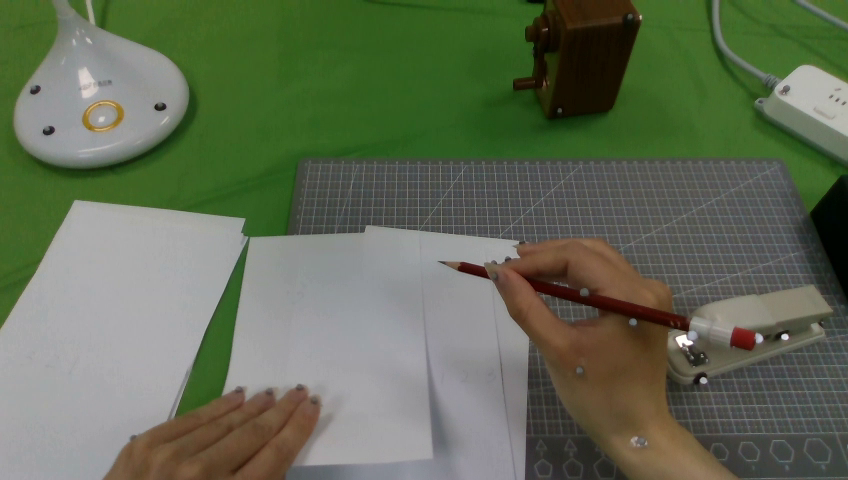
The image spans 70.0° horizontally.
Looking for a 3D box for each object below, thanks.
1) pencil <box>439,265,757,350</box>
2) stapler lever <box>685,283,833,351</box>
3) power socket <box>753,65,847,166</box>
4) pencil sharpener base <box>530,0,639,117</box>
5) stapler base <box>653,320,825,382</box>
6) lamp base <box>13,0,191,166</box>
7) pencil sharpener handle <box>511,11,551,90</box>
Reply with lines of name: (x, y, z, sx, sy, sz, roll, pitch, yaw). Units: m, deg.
pencil: (0.081, 0.032, 0.341, 0.192, 0.012, 0.012, 12, 50, 41)
stapler lever: (0.238, 0.051, 0.428, 0.118, 0.040, 0.026, -13, 56, -12)
power socket: (0.424, -0.091, 0.560, 0.072, 0.033, 0.224, -36, 62, -24)
pencil sharpener base: (0.144, -0.176, 0.573, 0.077, 0.108, 0.060, -9, 55, -6)
stapler base: (0.236, 0.067, 0.447, 0.131, 0.024, 0.041, -13, 56, -12)
lamp base: (-0.315, -0.186, 0.529, 0.161, 0.182, 0.177, -26, 56, -18)
pencil sharpener handle: (0.095, -0.171, 0.552, 0.031, 0.068, 0.035, -10, 33, -6)
